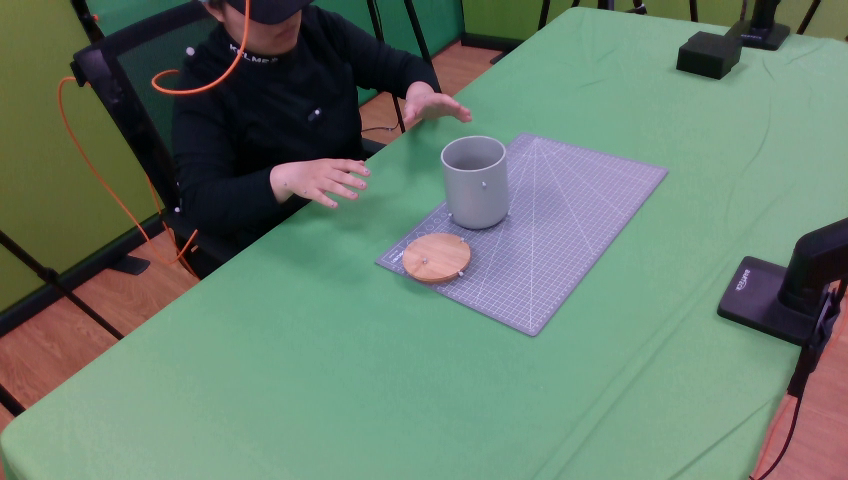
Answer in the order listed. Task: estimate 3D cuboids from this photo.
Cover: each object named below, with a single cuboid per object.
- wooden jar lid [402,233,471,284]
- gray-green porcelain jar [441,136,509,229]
[{"bbox_3d":[0.020,0.030,0.941,0.108,0.021,0.108,-4,40,4],"label":"wooden jar lid"},{"bbox_3d":[0.086,-0.090,0.988,0.106,0.127,0.105,-5,40,5],"label":"gray-green porcelain jar"}]
